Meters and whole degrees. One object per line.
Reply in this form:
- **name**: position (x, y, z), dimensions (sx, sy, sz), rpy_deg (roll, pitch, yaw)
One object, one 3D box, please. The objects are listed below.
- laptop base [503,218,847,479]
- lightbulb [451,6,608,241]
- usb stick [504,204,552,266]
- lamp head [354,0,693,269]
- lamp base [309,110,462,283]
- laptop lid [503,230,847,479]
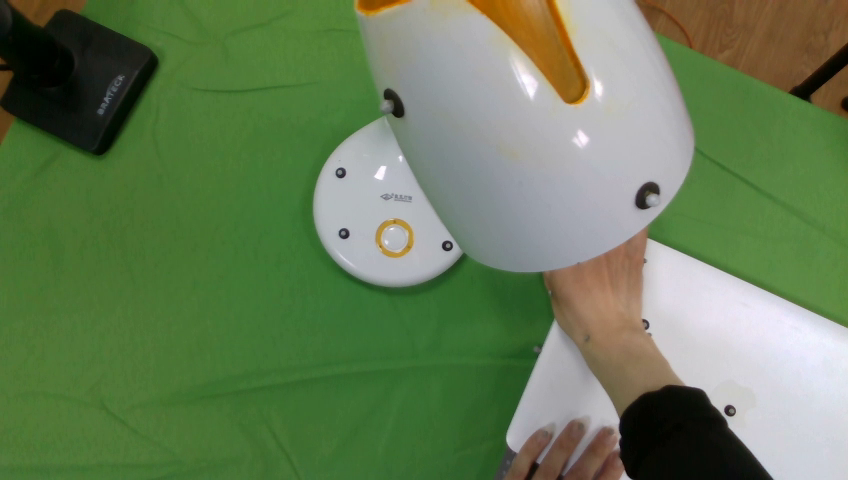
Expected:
- **laptop base**: position (0.276, 0.152, 0.567), dimensions (0.354, 0.023, 0.235), rpy_deg (25, 84, 3)
- **lightbulb**: position (0.039, -0.044, 0.244), dimensions (0.059, 0.109, 0.059), rpy_deg (-16, 45, 17)
- **usb stick**: position (0.103, -0.003, 0.580), dimensions (0.021, 0.027, 0.059), rpy_deg (-31, 94, -20)
- **lamp head**: position (0.028, -0.068, 0.228), dimensions (0.112, 0.111, 0.124), rpy_deg (-46, 126, -7)
- **lamp base**: position (-0.031, -0.063, 0.511), dimensions (0.161, 0.181, 0.178), rpy_deg (-5, 78, -2)
- **laptop lid**: position (0.275, 0.152, 0.555), dimensions (0.356, 0.013, 0.241), rpy_deg (26, 83, 3)
